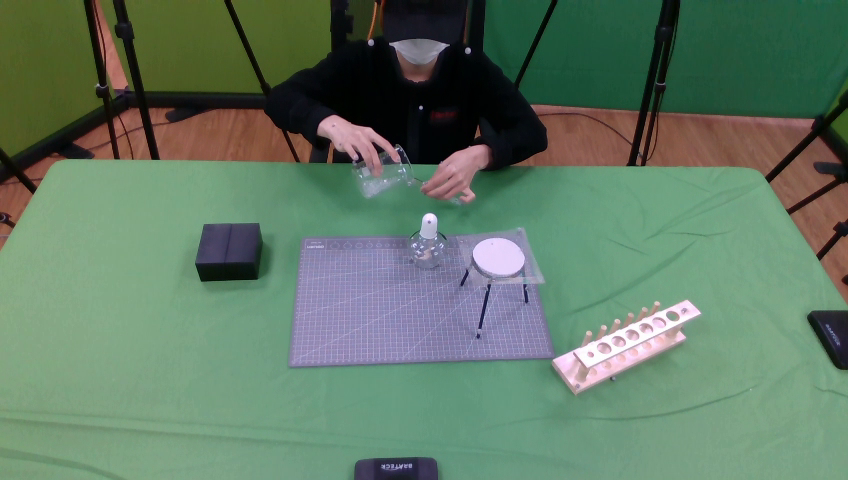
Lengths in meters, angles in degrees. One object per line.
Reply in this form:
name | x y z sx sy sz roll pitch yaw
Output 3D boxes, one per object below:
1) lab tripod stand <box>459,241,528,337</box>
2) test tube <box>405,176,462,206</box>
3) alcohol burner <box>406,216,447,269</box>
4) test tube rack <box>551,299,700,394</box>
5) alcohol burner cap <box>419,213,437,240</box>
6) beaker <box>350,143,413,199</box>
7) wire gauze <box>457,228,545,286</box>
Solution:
lab tripod stand | 0.122 0.075 1.054 0.148 0.132 0.147 3 44 -3
test tube | 0.022 -0.098 1.219 0.151 0.017 0.017 21 33 -39
alcohol burner | 0.006 -0.002 1.134 0.078 0.120 0.077 2 48 -2
test tube rack | 0.339 0.166 1.021 0.242 0.085 0.066 -19 50 -21
alcohol burner cap | 0.009 -0.027 1.109 0.034 0.048 0.033 3 44 -3
beaker | -0.081 -0.124 1.138 0.100 0.084 0.073 -26 47 -11
wire gauze | 0.126 0.029 1.006 0.125 0.011 0.120 -4 46 -10
